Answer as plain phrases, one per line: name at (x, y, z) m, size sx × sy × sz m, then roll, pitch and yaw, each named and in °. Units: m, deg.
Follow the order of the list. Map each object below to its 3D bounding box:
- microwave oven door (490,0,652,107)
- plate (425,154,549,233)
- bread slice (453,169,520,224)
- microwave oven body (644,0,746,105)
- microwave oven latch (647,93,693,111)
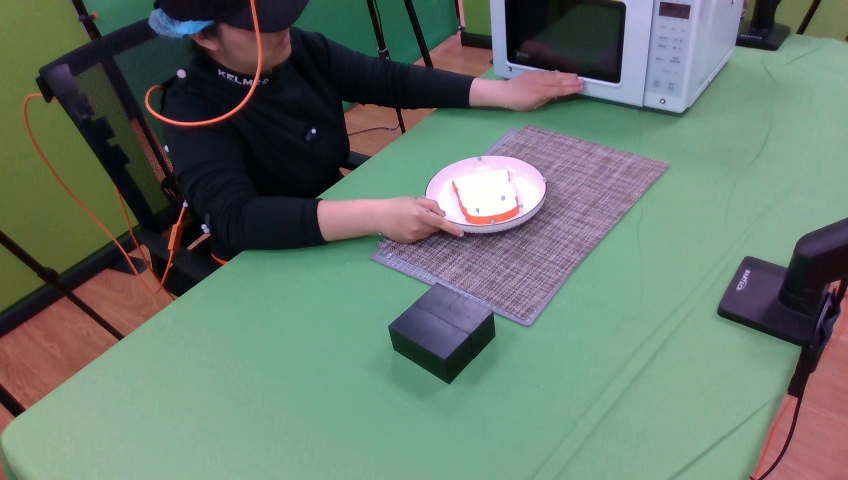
microwave oven door at (0.291, -0.418, 1.226) m, size 0.353 × 0.245 × 0.039 m, roll 23°, pitch 50°, yaw 33°
plate at (0.108, -0.076, 1.039) m, size 0.209 × 0.038 × 0.208 m, roll -5°, pitch 40°, yaw 5°
bread slice at (0.112, -0.076, 1.040) m, size 0.105 × 0.019 × 0.130 m, roll -11°, pitch 40°, yaw -1°
microwave oven body at (0.417, -0.486, 1.290) m, size 0.438 × 0.261 × 0.327 m, roll 21°, pitch 50°, yaw 33°
microwave oven latch at (0.478, -0.273, 1.177) m, size 0.078 × 0.029 × 0.030 m, roll 23°, pitch 50°, yaw 33°
